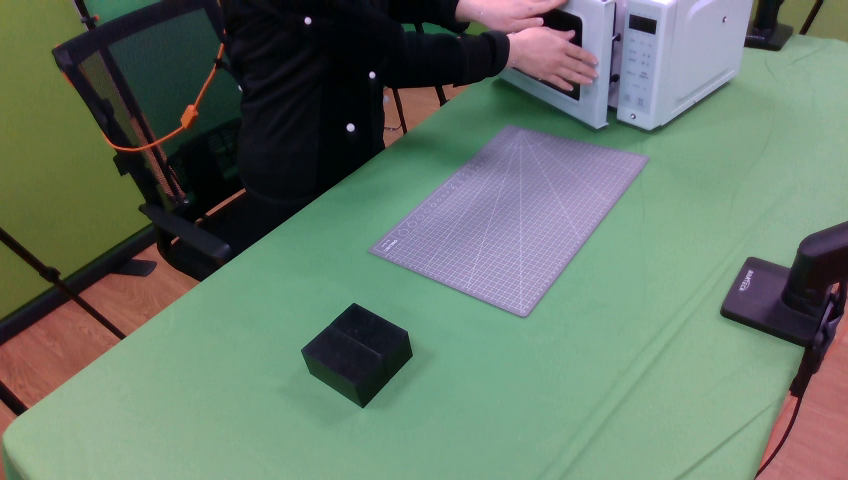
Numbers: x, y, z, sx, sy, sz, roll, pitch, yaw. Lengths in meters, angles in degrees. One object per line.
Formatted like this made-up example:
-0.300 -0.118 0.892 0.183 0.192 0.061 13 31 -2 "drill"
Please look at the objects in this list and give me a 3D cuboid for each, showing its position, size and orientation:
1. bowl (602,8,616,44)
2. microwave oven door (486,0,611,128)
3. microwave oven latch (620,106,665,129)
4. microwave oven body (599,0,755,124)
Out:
0.332 -0.441 1.302 0.151 0.077 0.150 -3 39 3 "bowl"
0.241 -0.398 1.212 0.039 0.245 0.352 -27 43 -19 "microwave oven door"
0.413 -0.237 1.146 0.030 0.029 0.078 -32 44 -23 "microwave oven latch"
0.402 -0.458 1.259 0.327 0.261 0.437 -33 45 -24 "microwave oven body"
